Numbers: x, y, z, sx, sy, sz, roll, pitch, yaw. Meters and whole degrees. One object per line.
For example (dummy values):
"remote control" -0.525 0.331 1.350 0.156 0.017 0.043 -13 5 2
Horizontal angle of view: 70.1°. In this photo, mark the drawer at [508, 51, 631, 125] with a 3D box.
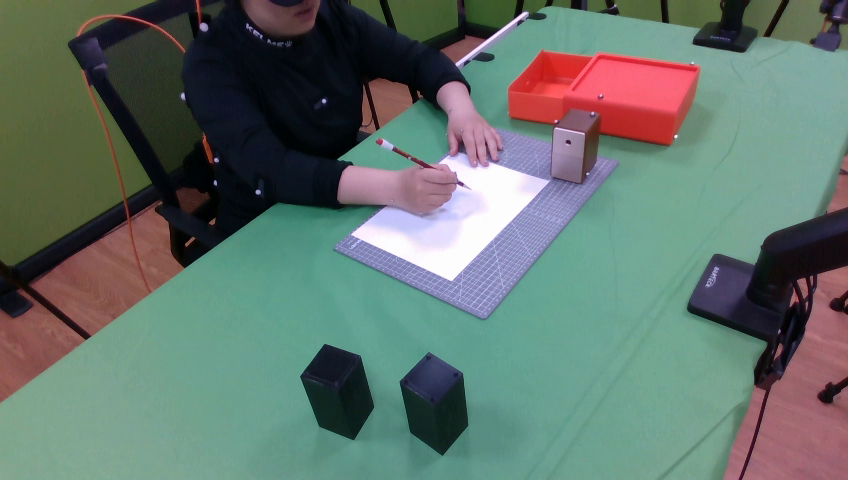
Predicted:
"drawer" 0.304 -0.310 1.246 0.210 0.073 0.195 16 45 25

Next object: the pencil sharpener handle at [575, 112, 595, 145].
"pencil sharpener handle" 0.290 -0.203 1.077 0.036 0.068 0.031 19 47 25

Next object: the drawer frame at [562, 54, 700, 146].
"drawer frame" 0.407 -0.282 1.195 0.212 0.083 0.202 17 45 25

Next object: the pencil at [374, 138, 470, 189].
"pencil" 0.002 -0.120 0.976 0.196 0.012 0.012 23 28 -31

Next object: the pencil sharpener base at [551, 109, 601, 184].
"pencil sharpener base" 0.265 -0.163 1.053 0.061 0.107 0.077 17 46 27
